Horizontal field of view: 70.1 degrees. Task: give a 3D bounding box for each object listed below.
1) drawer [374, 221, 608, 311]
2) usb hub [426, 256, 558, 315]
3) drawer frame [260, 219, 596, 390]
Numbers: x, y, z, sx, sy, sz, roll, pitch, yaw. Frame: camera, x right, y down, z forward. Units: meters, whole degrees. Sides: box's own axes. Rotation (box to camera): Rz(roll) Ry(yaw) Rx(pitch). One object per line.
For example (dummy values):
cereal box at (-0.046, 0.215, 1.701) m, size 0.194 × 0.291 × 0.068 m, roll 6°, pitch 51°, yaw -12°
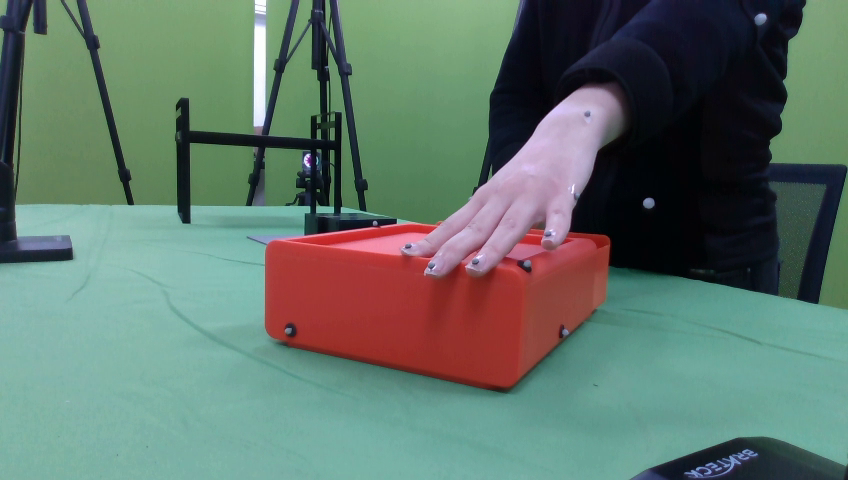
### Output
drawer at (0.046, 0.030, 0.551) m, size 0.194 × 0.073 × 0.213 m, roll 7°, pitch 9°, yaw 28°
usb hub at (0.064, 0.042, 0.589) m, size 0.124 × 0.025 × 0.050 m, roll 16°, pitch 14°, yaw 39°
drawer frame at (0.016, 0.036, 0.494) m, size 0.201 × 0.082 × 0.214 m, roll 6°, pitch 9°, yaw 26°
